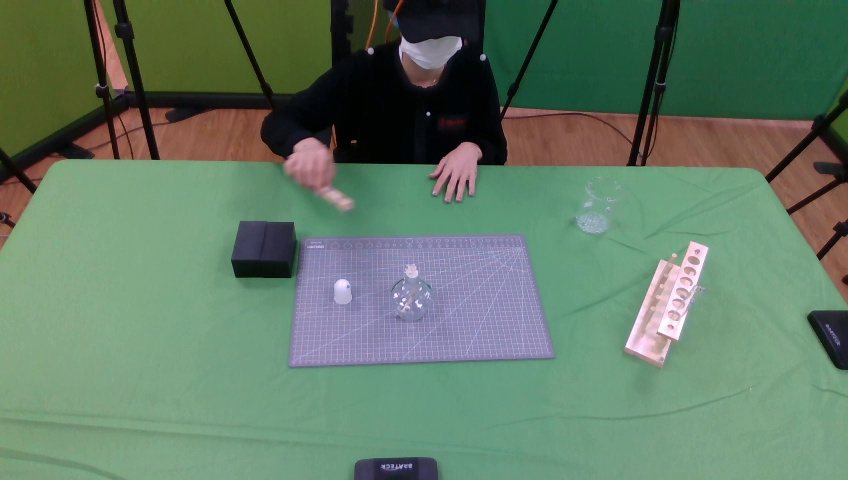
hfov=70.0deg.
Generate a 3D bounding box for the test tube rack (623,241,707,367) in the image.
[{"bbox_3d":[0.435,0.104,1.089,0.066,0.085,0.242,24,49,18],"label":"test tube rack"}]

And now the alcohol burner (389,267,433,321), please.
[{"bbox_3d":[-0.022,0.085,1.046,0.078,0.119,0.077,2,48,-3],"label":"alcohol burner"}]

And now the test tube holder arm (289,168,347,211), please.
[{"bbox_3d":[-0.192,-0.093,1.080,0.013,0.015,0.177,-13,34,-43],"label":"test tube holder arm"}]

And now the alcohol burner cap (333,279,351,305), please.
[{"bbox_3d":[-0.147,0.090,1.083,0.034,0.048,0.033,2,47,-2],"label":"alcohol burner cap"}]

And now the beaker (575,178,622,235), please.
[{"bbox_3d":[0.356,-0.068,1.239,0.084,0.101,0.073,-18,50,-21],"label":"beaker"}]

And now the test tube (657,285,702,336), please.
[{"bbox_3d":[0.418,0.121,1.000,0.017,0.151,0.017,4,51,-4],"label":"test tube"}]

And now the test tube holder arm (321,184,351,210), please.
[{"bbox_3d":[-0.157,-0.075,1.056,0.010,0.015,0.087,-12,33,-43],"label":"test tube holder arm"}]
